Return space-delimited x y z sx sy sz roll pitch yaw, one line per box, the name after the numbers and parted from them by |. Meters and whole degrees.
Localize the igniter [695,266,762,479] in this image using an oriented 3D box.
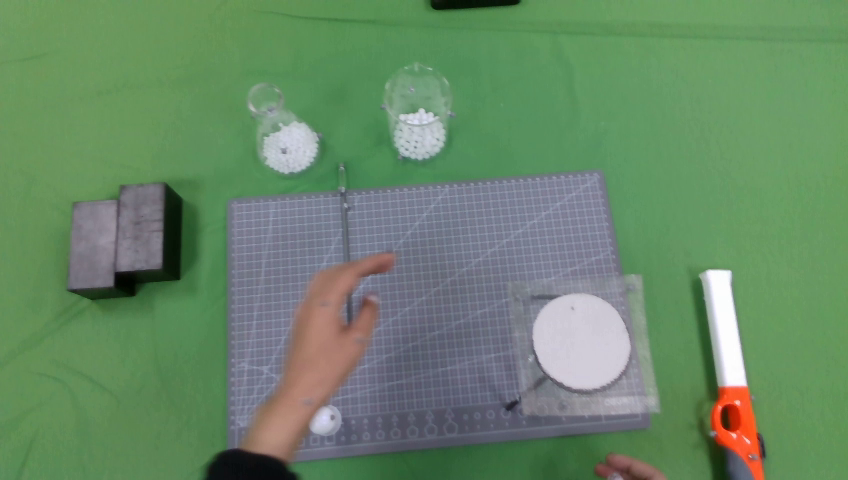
0.327 0.163 0.652 0.057 0.025 0.275 2 74 -11 | igniter

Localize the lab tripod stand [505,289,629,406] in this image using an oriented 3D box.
0.139 0.110 0.606 0.148 0.132 0.147 0 76 0 | lab tripod stand

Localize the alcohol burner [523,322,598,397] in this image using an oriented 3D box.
0.141 0.119 0.614 0.078 0.120 0.077 0 74 2 | alcohol burner

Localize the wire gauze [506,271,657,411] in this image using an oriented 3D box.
0.140 0.089 0.542 0.125 0.011 0.121 -2 75 -1 | wire gauze

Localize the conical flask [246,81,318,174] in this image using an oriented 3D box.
-0.165 -0.130 0.680 0.075 0.122 0.075 0 73 0 | conical flask

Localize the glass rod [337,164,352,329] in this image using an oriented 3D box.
-0.092 0.003 0.697 0.008 0.008 0.198 -5 74 -2 | glass rod

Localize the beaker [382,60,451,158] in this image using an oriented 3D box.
-0.009 -0.147 0.699 0.074 0.101 0.083 -2 73 -1 | beaker

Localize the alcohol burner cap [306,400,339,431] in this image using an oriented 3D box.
-0.107 0.182 0.630 0.034 0.048 0.033 0 74 -1 | alcohol burner cap
